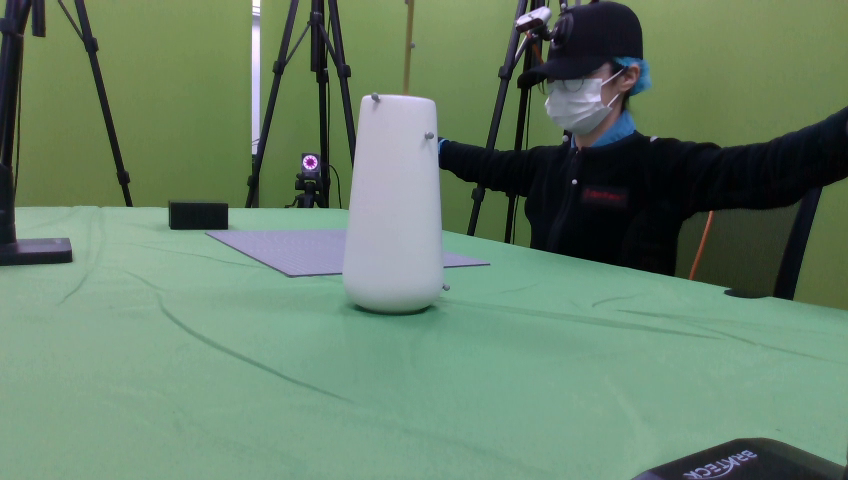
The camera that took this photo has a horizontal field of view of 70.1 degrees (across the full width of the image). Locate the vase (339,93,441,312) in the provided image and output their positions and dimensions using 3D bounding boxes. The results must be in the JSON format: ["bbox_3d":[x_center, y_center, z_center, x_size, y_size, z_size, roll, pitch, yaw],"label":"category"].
[{"bbox_3d":[-0.032,-0.035,0.577,0.098,0.200,0.098,0,7,0],"label":"vase"}]

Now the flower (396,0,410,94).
[{"bbox_3d":[-0.023,-0.113,0.546,0.044,0.361,0.038,7,25,1],"label":"flower"}]
